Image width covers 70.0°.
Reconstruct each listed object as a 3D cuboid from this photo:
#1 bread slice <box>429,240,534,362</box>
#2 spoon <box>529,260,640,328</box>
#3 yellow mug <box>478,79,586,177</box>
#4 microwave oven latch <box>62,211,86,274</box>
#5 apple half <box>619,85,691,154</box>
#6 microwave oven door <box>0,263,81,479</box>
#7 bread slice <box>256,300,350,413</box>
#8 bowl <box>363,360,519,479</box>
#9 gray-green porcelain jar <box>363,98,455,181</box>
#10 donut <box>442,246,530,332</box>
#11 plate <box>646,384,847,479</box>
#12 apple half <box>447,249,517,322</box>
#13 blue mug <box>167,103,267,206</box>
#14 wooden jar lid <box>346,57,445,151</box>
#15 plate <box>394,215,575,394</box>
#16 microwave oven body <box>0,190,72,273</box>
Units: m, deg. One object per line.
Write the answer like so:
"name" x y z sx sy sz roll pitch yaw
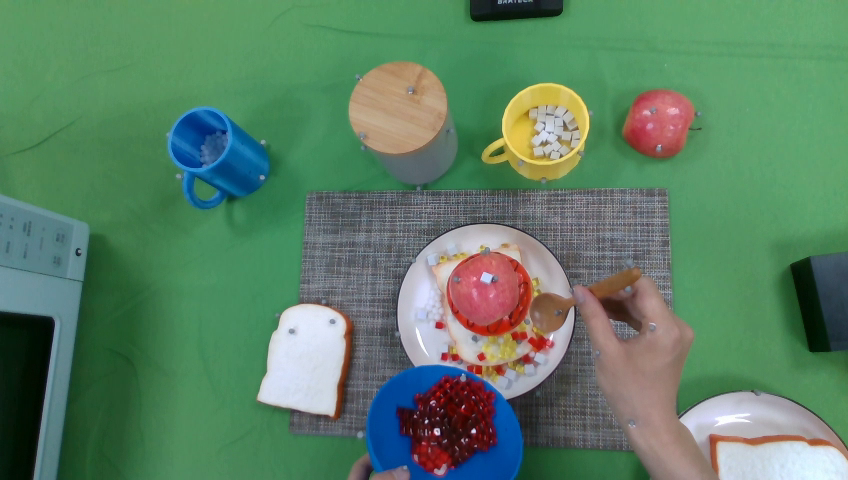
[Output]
"bread slice" 0.075 0.074 0.709 0.107 0.018 0.133 -16 78 6
"spoon" 0.139 0.050 0.550 0.022 0.194 0.041 -18 79 -15
"yellow mug" 0.127 -0.127 0.727 0.131 0.064 0.099 -22 77 5
"microwave oven latch" -0.466 0.003 0.791 0.030 0.029 0.079 4 81 10
"apple half" 0.274 -0.148 0.714 0.074 0.053 0.080 23 84 15
"microwave oven door" -0.492 0.199 0.655 0.039 0.245 0.354 0 79 10
"bread slice" -0.146 0.138 0.743 0.104 0.019 0.131 8 82 9
"bowl" 0.011 0.201 0.593 0.152 0.077 0.150 8 41 -7
"gray-green porcelain jar" -0.019 -0.133 0.720 0.106 0.127 0.105 -2 79 9
"donut" 0.070 0.055 0.684 0.099 0.048 0.098 -2 80 10
"plate" 0.340 0.256 0.637 0.209 0.038 0.208 -2 79 9
"apple half" 0.062 0.047 0.649 0.081 0.033 0.081 -4 76 15
"blue mug" -0.264 -0.098 0.762 0.082 0.106 0.116 21 83 12
"wooden jar lid" -0.030 -0.145 0.658 0.108 0.021 0.108 -1 77 7
"plate" 0.069 0.076 0.709 0.207 0.039 0.207 -2 80 9
"microwave oven body" -0.633 0.158 0.690 0.325 0.261 0.440 0 80 9
